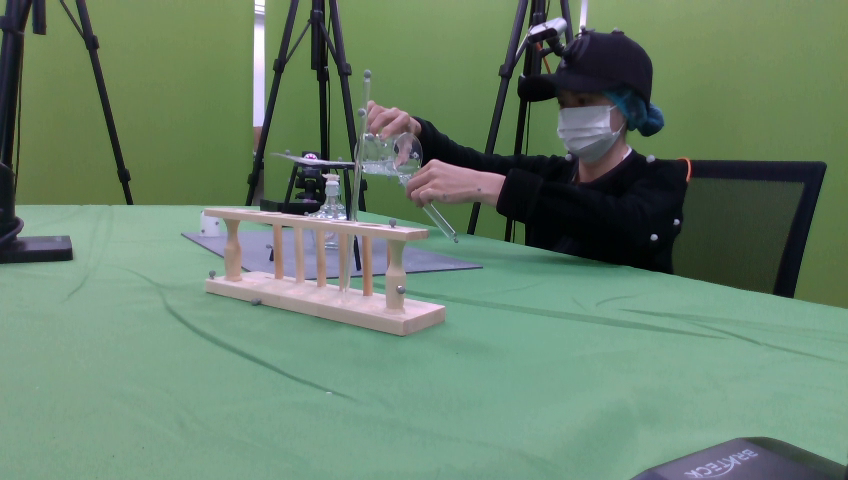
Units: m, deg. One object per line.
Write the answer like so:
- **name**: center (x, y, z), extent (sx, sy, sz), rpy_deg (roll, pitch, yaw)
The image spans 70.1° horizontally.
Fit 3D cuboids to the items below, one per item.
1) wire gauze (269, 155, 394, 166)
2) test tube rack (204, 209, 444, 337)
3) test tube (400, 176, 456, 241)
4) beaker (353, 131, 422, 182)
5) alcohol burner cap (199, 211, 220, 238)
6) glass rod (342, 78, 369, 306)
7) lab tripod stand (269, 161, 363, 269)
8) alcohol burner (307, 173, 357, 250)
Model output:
- **wire gauze**: center (-0.122, -0.102, 0.785), extent (0.122, 0.011, 0.124), rpy_deg (-3, 10, -39)
- **test tube rack**: center (-0.100, 0.021, 0.565), extent (0.241, 0.085, 0.067), rpy_deg (7, 9, 32)
- **test tube**: center (0.006, -0.051, 0.963), extent (0.017, 0.017, 0.149), rpy_deg (-5, 45, -44)
- **beaker**: center (-0.065, -0.143, 1.027), extent (0.100, 0.084, 0.074), rpy_deg (9, 4, 41)
- **alcohol burner cap**: center (-0.356, -0.027, 1.002), extent (0.034, 0.048, 0.034), rpy_deg (2, 7, 0)
- **glass rod**: center (-0.059, -0.038, 0.522), extent (0.008, 0.199, 0.008), rpy_deg (6, 5, 0)
- **lab tripod stand**: center (-0.125, -0.036, 0.794), extent (0.148, 0.131, 0.148), rpy_deg (5, 7, 0)
- **alcohol burner**: center (-0.144, -0.045, 0.940), extent (0.078, 0.119, 0.078), rpy_deg (1, 8, 0)
